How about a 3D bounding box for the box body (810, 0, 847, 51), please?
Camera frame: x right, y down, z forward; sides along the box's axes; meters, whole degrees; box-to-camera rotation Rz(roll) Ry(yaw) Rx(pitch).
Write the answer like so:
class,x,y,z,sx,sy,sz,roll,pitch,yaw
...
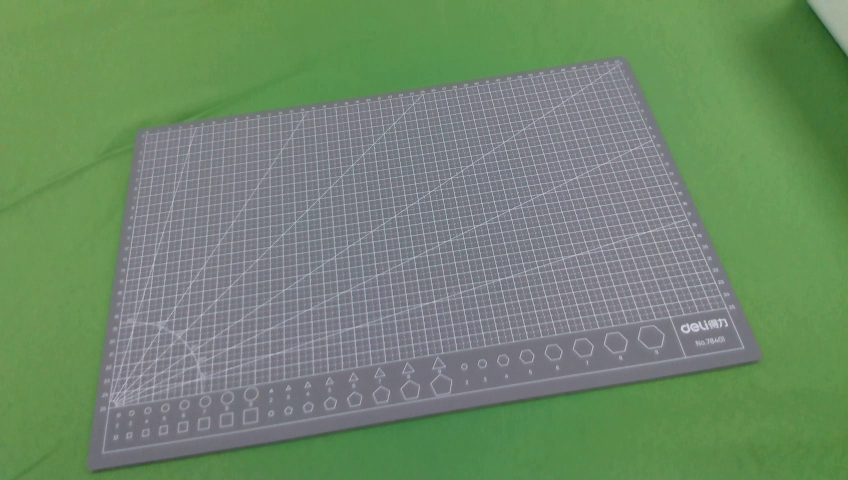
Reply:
class,x,y,z,sx,sy,sz,roll,pitch,yaw
box body,0.493,-0.166,0.438,0.254,0.162,0.360,-10,58,-2
